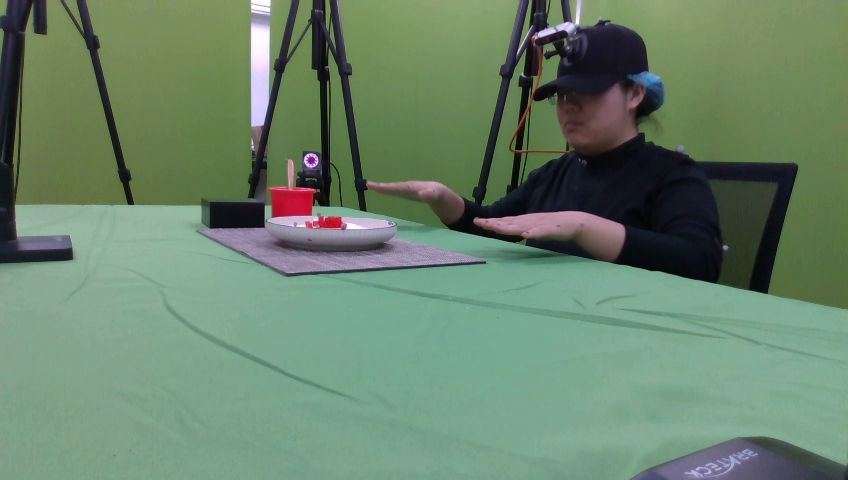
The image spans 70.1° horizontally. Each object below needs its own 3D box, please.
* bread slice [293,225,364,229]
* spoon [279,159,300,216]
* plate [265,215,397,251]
[{"bbox_3d":[-0.154,-0.012,0.973,0.132,0.019,0.104,-1,7,-31],"label":"bread slice"},{"bbox_3d":[-0.282,-0.108,1.276,0.042,0.021,0.193,-1,52,-10],"label":"spoon"},{"bbox_3d":[-0.147,-0.012,0.963,0.209,0.038,0.209,3,7,0],"label":"plate"}]
